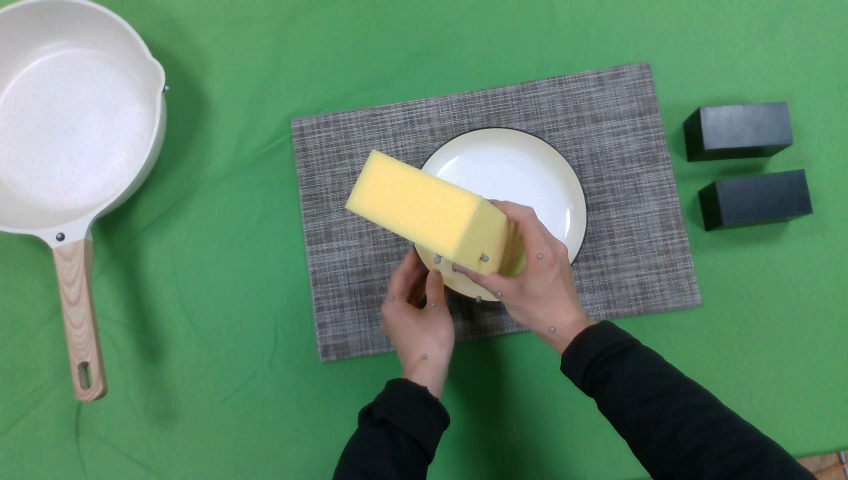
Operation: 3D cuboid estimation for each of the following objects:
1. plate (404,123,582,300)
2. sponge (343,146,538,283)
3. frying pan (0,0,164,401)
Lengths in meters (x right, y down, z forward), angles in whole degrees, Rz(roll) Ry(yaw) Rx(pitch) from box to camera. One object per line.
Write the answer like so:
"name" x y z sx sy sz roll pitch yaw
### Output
"plate" 0.078 -0.032 0.710 0.207 0.039 0.207 0 82 2
"sponge" 0.028 -0.018 0.608 0.117 0.208 0.061 25 91 26
"frying pan" -0.423 -0.052 0.706 0.307 0.103 0.484 -17 74 1
